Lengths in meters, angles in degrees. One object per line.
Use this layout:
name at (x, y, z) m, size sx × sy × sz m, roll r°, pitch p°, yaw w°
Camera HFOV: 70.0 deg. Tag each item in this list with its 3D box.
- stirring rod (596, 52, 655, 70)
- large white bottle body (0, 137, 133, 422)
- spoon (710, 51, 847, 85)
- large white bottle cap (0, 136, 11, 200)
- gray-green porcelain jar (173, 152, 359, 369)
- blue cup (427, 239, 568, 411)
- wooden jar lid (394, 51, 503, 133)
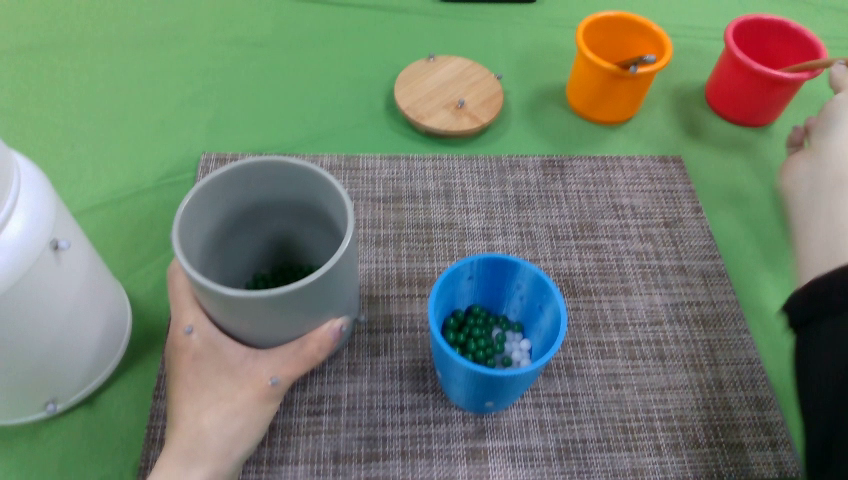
stirring rod at (0.181, -0.163, 0.556) m, size 0.014 × 0.006 × 0.175 m, roll 4°, pitch 13°, yaw 4°
large white bottle body at (-0.272, 0.020, 0.365) m, size 0.131 × 0.186 × 0.129 m, roll 2°, pitch 56°, yaw -3°
spoon at (0.357, -0.164, 0.565) m, size 0.042 × 0.192 × 0.022 m, roll -23°, pitch 106°, yaw -23°
large white bottle cap at (-0.268, -0.028, 0.294) m, size 0.115 × 0.018 × 0.113 m, roll 2°, pitch 56°, yaw -3°
gray-green porcelain jar at (-0.098, 0.021, 0.410) m, size 0.106 × 0.127 × 0.105 m, roll 2°, pitch 56°, yaw -3°
blue cup at (0.042, 0.069, 0.405) m, size 0.093 × 0.101 × 0.092 m, roll 1°, pitch 55°, yaw -2°
wooden jar lid at (0.023, -0.146, 0.602) m, size 0.108 × 0.021 × 0.107 m, roll 2°, pitch 55°, yaw -3°
